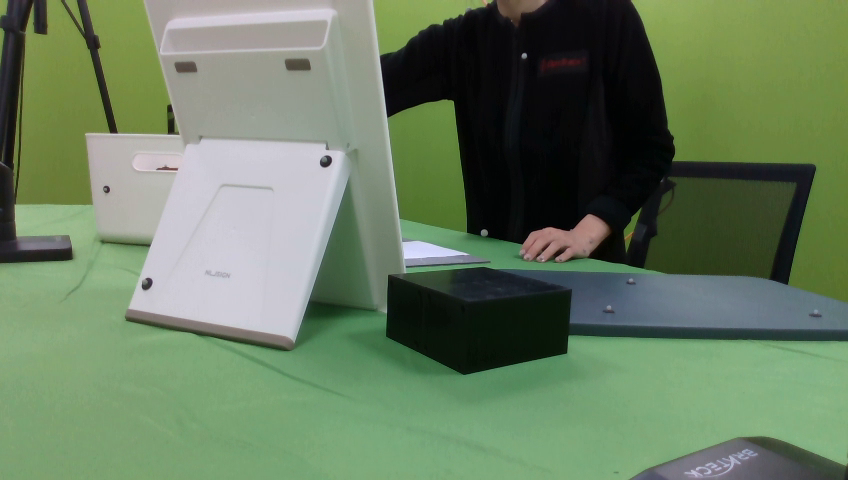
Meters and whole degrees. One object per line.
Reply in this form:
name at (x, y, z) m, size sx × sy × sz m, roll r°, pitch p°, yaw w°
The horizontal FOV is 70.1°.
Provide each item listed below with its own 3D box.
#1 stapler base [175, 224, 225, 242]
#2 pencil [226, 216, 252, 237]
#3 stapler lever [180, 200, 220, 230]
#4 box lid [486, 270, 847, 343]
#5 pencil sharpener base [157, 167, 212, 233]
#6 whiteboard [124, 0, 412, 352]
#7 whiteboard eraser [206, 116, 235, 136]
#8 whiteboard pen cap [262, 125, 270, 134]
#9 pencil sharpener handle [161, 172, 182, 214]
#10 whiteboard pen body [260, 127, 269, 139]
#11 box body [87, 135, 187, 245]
stapler base at (-0.348, -0.015, 0.947) m, size 0.041 × 0.024 × 0.130 m, roll -1°, pitch 8°, yaw -3°
pencil at (-0.334, -0.025, 1.092) m, size 0.012 × 0.012 × 0.193 m, roll 2°, pitch 11°, yaw -5°
stapler lever at (-0.347, -0.040, 0.942) m, size 0.027 × 0.040 × 0.118 m, roll -1°, pitch 8°, yaw -2°
box lid at (0.266, 0.066, 0.643) m, size 0.372 × 0.015 × 0.263 m, roll 2°, pitch 7°, yaw -5°
pencil sharpener base at (-0.406, -0.069, 1.025) m, size 0.061 × 0.107 × 0.077 m, roll 2°, pitch 8°, yaw 9°
whiteboard at (-0.151, -0.049, 0.472) m, size 0.216 × 0.305 × 0.144 m, roll 6°, pitch 27°, yaw 24°
whiteboard eraser at (-0.450, -0.252, 1.335) m, size 0.056 × 0.042 × 0.112 m, roll 1°, pitch 7°, yaw -22°
whiteboard pen cap at (-0.349, -0.244, 1.337) m, size 0.018 × 0.018 × 0.033 m, roll 0°, pitch 2°, yaw -17°
pencil sharpener handle at (-0.410, -0.075, 0.973) m, size 0.036 × 0.067 × 0.031 m, roll -12°, pitch 6°, yaw 11°
whiteboard pen body at (-0.366, -0.247, 1.392) m, size 0.017 × 0.017 × 0.140 m, roll 0°, pitch 4°, yaw -17°
box body at (-0.338, -0.088, 1.022) m, size 0.254 × 0.160 × 0.364 m, roll 3°, pitch 7°, yaw 9°
